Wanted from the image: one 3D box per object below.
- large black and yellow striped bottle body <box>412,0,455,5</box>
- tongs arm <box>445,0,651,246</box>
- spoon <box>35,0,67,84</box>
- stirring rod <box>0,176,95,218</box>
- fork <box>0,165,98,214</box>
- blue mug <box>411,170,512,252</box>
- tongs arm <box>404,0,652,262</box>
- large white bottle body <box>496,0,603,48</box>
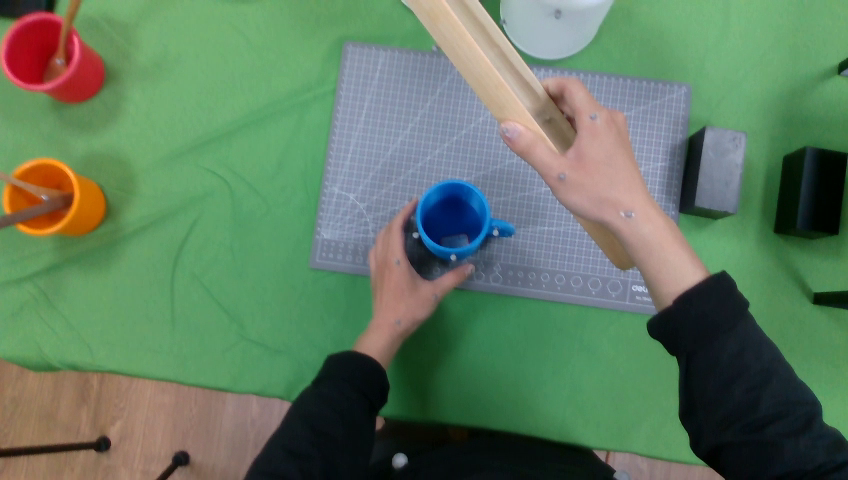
[{"bbox_3d":[0.010,-0.372,0.698,0.131,0.184,0.130,0,85,1],"label":"large black and yellow striped bottle body"},{"bbox_3d":[0.076,-0.131,0.506,0.028,0.028,0.390,-32,114,30],"label":"tongs arm"},{"bbox_3d":[-0.431,-0.257,0.715,0.041,0.021,0.194,54,131,8],"label":"spoon"},{"bbox_3d":[-0.468,-0.040,0.701,0.176,0.006,0.014,-34,88,-44],"label":"stirring rod"},{"bbox_3d":[-0.486,-0.081,0.699,0.209,0.018,0.028,30,83,-40],"label":"fork"},{"bbox_3d":[0.044,-0.029,0.707,0.116,0.106,0.082,9,85,2],"label":"blue mug"},{"bbox_3d":[0.070,-0.115,0.487,0.026,0.050,0.387,-30,111,33],"label":"tongs arm"},{"bbox_3d":[0.154,-0.315,0.691,0.130,0.185,0.130,0,85,1],"label":"large white bottle body"}]
